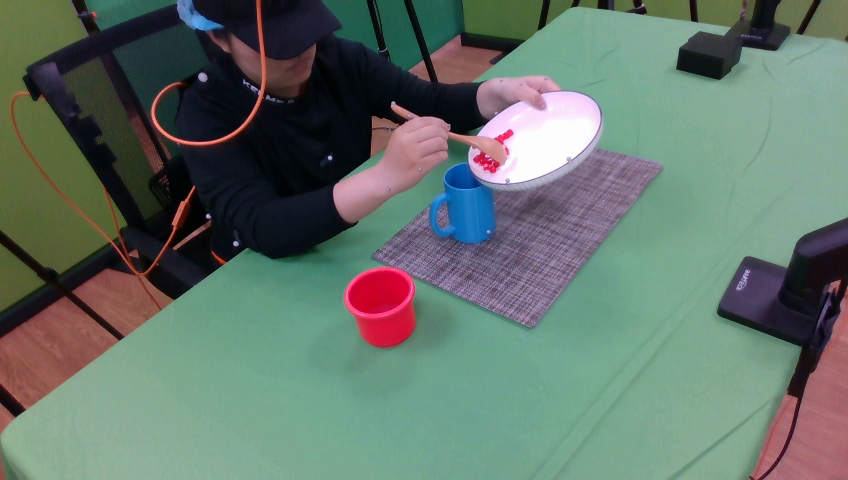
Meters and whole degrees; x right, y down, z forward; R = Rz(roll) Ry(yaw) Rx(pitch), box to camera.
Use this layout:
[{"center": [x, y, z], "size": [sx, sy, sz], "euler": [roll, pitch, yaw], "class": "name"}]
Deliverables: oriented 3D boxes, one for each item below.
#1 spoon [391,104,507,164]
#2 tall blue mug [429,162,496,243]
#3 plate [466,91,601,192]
[{"center": [0.040, -0.156, 0.885], "size": [0.195, 0.021, 0.041], "euler": [18, 52, -15], "class": "spoon"}, {"center": [0.067, -0.051, 0.960], "size": [0.077, 0.108, 0.107], "euler": [18, 47, 27], "class": "tall blue mug"}, {"center": [0.166, -0.144, 0.911], "size": [0.207, 0.039, 0.206], "euler": [-19, 40, 18], "class": "plate"}]
